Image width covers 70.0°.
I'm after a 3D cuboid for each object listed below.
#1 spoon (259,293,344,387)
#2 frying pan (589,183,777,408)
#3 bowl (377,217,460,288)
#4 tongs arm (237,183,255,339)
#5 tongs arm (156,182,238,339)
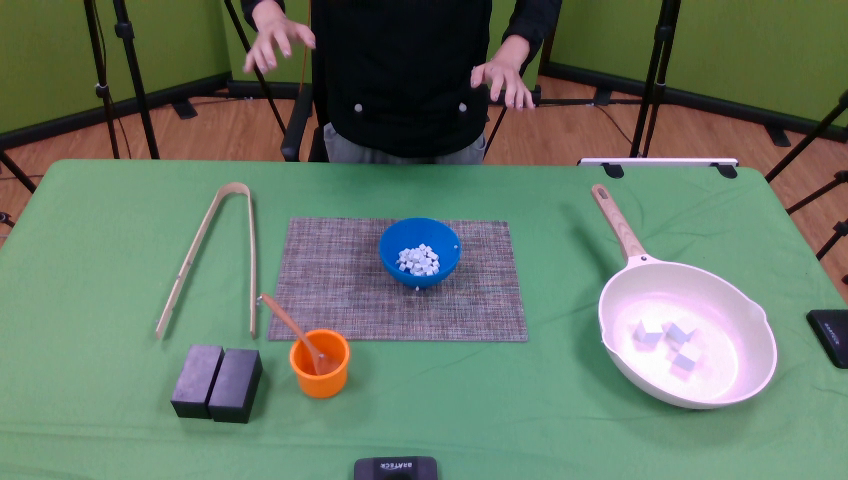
[{"bbox_3d":[-0.191,0.155,0.947,0.021,0.194,0.041,-12,28,51],"label":"spoon"},{"bbox_3d":[0.412,0.079,1.096,0.307,0.103,0.484,-8,56,-13],"label":"frying pan"},{"bbox_3d":[-0.012,0.036,1.118,0.151,0.077,0.150,2,46,-2],"label":"bowl"},{"bbox_3d":[-0.334,0.024,1.145,0.028,0.028,0.385,-9,48,-9],"label":"tongs arm"},{"bbox_3d":[-0.415,0.023,1.134,0.051,0.026,0.382,3,45,-3],"label":"tongs arm"}]
